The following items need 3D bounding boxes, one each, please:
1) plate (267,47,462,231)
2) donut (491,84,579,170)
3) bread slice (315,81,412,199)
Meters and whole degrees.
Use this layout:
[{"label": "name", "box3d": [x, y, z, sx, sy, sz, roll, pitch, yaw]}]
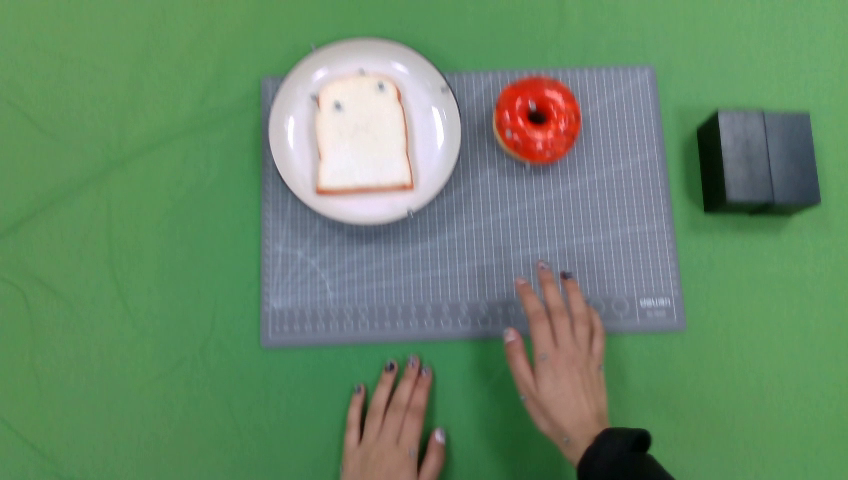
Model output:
[{"label": "plate", "box3d": [-0.063, -0.108, 0.662, 0.209, 0.038, 0.208, 0, 79, -2]}, {"label": "donut", "box3d": [0.122, -0.124, 0.667, 0.099, 0.048, 0.098, 1, 79, -4]}, {"label": "bread slice", "box3d": [-0.071, -0.111, 0.664, 0.105, 0.019, 0.131, -5, 79, -3]}]
